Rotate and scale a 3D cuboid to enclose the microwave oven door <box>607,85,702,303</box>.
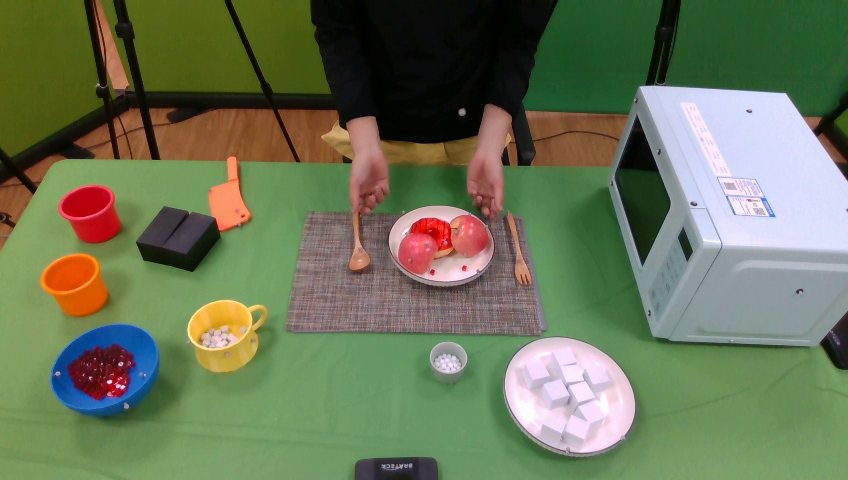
[{"bbox_3d":[0.423,-0.094,1.140,0.039,0.245,0.353,2,46,-1],"label":"microwave oven door"}]

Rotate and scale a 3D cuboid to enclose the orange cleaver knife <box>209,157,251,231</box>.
[{"bbox_3d":[-0.409,-0.099,1.266,0.077,0.012,0.210,-14,50,-10],"label":"orange cleaver knife"}]

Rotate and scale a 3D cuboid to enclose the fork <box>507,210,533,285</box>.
[{"bbox_3d":[0.185,0.012,1.197,0.028,0.019,0.206,-5,48,0],"label":"fork"}]

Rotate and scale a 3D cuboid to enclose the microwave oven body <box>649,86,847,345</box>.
[{"bbox_3d":[0.568,-0.053,1.118,0.326,0.261,0.439,2,45,-1],"label":"microwave oven body"}]

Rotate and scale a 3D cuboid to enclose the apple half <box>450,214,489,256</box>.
[{"bbox_3d":[0.092,-0.013,1.158,0.075,0.053,0.080,34,39,-28],"label":"apple half"}]

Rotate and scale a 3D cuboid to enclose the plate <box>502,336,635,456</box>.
[{"bbox_3d":[0.225,0.248,0.964,0.208,0.039,0.206,2,46,-2],"label":"plate"}]

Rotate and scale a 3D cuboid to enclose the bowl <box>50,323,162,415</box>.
[{"bbox_3d":[-0.472,0.209,0.924,0.151,0.077,0.150,3,45,-2],"label":"bowl"}]

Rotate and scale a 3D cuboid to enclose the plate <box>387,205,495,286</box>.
[{"bbox_3d":[0.033,0.014,1.171,0.209,0.038,0.208,2,46,-2],"label":"plate"}]

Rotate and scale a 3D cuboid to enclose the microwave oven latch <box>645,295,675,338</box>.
[{"bbox_3d":[0.412,0.134,1.061,0.030,0.029,0.078,3,45,0],"label":"microwave oven latch"}]

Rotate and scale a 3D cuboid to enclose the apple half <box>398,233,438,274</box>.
[{"bbox_3d":[-0.016,0.022,1.123,0.081,0.033,0.081,-2,83,14],"label":"apple half"}]

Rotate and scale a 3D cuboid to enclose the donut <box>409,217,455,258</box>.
[{"bbox_3d":[0.019,-0.006,1.174,0.099,0.048,0.098,3,43,-2],"label":"donut"}]

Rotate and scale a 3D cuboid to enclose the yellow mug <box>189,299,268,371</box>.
[{"bbox_3d":[-0.316,0.148,1.002,0.131,0.064,0.099,-33,56,-31],"label":"yellow mug"}]

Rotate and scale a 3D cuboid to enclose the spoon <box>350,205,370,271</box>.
[{"bbox_3d":[-0.130,-0.008,1.190,0.041,0.022,0.192,-20,46,10],"label":"spoon"}]

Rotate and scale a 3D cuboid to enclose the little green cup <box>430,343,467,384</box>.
[{"bbox_3d":[0.039,0.203,0.993,0.061,0.039,0.061,2,46,-2],"label":"little green cup"}]
